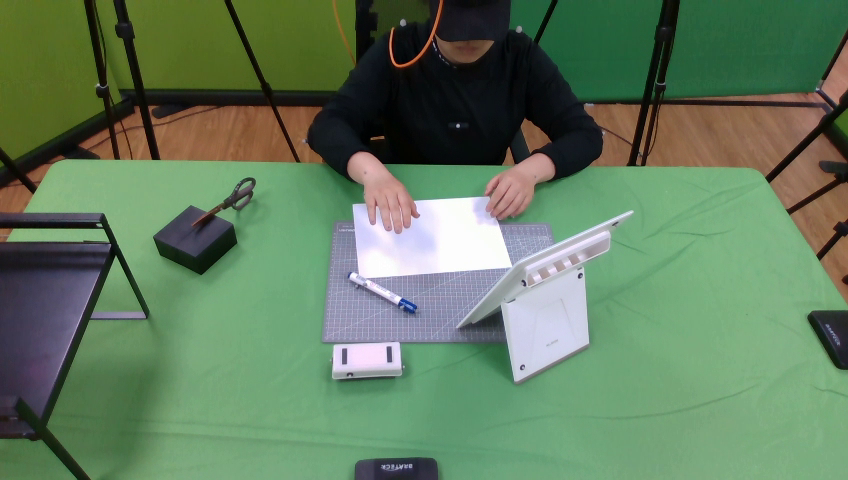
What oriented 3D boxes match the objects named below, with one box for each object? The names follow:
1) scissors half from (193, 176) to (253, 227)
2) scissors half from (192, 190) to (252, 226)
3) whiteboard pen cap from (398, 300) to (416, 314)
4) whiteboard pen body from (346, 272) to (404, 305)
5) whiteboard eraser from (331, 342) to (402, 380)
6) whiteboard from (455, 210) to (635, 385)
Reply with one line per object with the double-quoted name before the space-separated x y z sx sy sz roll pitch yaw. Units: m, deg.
"scissors half" -0.388 -0.075 1.174 0.013 0.040 0.174 28 47 8
"scissors half" -0.393 -0.060 1.187 0.013 0.040 0.175 24 29 12
"whiteboard pen cap" -0.031 0.118 1.081 0.033 0.018 0.018 24 49 20
"whiteboard pen body" -0.081 0.092 1.098 0.140 0.017 0.017 25 50 17
"whiteboard eraser" -0.094 0.198 0.986 0.113 0.042 0.055 -2 44 -6
"whiteboard" 0.210 0.111 0.955 0.217 0.306 0.143 -21 72 -23
